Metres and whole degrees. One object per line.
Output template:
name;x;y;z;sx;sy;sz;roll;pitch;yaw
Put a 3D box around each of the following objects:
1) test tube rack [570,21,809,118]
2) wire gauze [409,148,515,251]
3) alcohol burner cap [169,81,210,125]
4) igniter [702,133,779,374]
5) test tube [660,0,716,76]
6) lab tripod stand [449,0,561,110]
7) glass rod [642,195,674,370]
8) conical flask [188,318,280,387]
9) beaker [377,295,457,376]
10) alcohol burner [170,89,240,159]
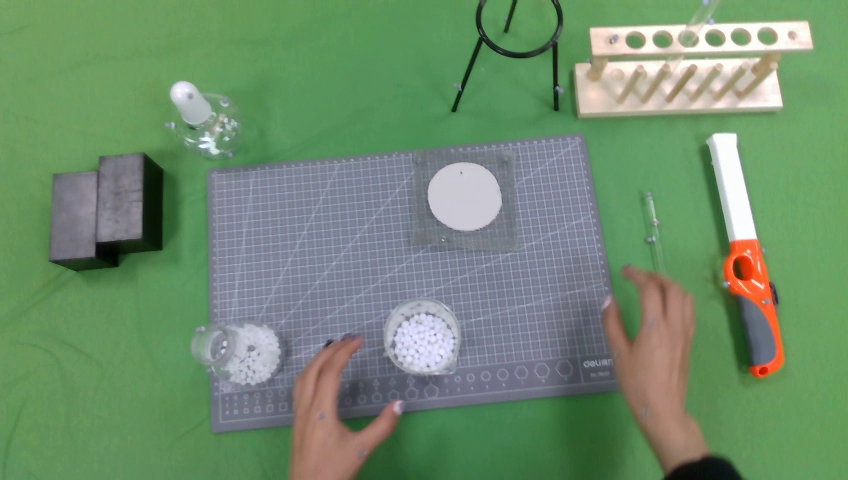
test tube rack;0.302;-0.195;0.702;0.242;0.085;0.066;-2;75;0
wire gauze;0.045;-0.050;0.704;0.125;0.011;0.121;3;76;-2
alcohol burner cap;-0.250;-0.148;0.641;0.034;0.048;0.033;0;69;0
igniter;0.354;0.010;0.681;0.057;0.025;0.275;-2;76;-10
test tube;0.284;-0.221;0.658;0.017;0.151;0.017;-1;75;3
lab tripod stand;0.094;-0.209;0.682;0.148;0.132;0.147;0;78;1
glass rod;0.264;0.045;0.682;0.008;0.008;0.198;-4;78;-1
conical flask;-0.194;0.108;0.606;0.075;0.122;0.075;0;75;0
beaker;-0.003;0.103;0.618;0.074;0.101;0.083;-41;79;-9
alcohol burner;-0.250;-0.137;0.675;0.078;0.119;0.077;0;77;2
